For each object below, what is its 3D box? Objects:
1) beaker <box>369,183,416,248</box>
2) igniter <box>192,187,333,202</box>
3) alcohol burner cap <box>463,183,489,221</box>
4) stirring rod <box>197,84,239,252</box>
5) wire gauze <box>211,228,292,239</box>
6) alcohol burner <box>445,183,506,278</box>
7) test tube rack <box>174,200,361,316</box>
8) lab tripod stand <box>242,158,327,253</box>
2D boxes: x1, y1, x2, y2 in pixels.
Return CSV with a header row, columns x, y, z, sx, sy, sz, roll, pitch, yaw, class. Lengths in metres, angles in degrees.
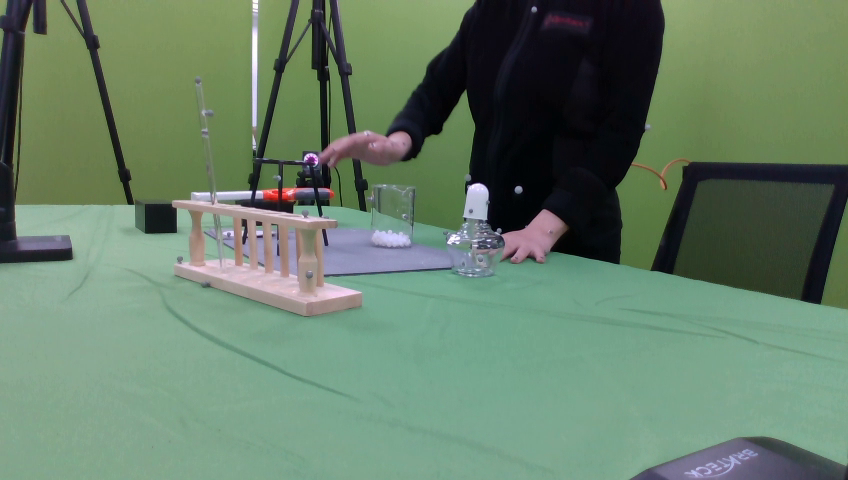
x,y,z,sx,sy,sz,roll,pitch,yaw,class
-0.050,-0.039,0.971,0.074,0.100,0.083,-1,9,-25,beaker
-0.316,-0.090,1.214,0.278,0.025,0.057,-5,13,-31,igniter
0.067,-0.049,0.765,0.034,0.048,0.034,5,5,0,alcohol burner cap
-0.212,-0.072,0.625,0.006,0.176,0.014,-14,12,-21,stirring rod
-0.298,-0.013,1.039,0.122,0.011,0.124,-2,6,-27,wire gauze
0.066,-0.013,0.771,0.078,0.119,0.078,0,7,0,alcohol burner
-0.169,0.009,0.622,0.241,0.085,0.067,9,9,41,test tube rack
-0.207,-0.054,0.895,0.148,0.131,0.148,3,5,0,lab tripod stand
